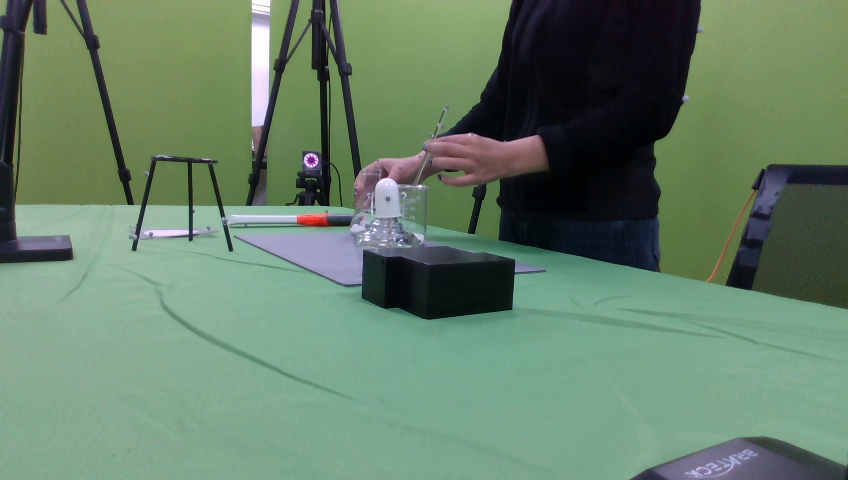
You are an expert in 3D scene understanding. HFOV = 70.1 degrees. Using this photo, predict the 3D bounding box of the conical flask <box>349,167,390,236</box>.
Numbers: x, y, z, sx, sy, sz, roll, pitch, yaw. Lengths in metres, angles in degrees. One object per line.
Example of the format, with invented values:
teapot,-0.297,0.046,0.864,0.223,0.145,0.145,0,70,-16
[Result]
conical flask,-0.097,-0.070,1.095,0.075,0.122,0.075,3,8,0

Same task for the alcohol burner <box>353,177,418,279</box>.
alcohol burner,-0.044,-0.014,0.710,0.078,0.119,0.078,4,9,0

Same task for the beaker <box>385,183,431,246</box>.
beaker,-0.031,-0.043,1.000,0.084,0.100,0.074,4,7,15

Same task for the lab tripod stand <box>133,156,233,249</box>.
lab tripod stand,-0.342,-0.054,0.878,0.148,0.131,0.148,4,6,0

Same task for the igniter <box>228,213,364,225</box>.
igniter,-0.252,-0.043,1.227,0.278,0.025,0.057,-2,-3,-32

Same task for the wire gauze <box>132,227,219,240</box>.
wire gauze,-0.421,-0.014,1.024,0.122,0.011,0.124,-2,7,-34

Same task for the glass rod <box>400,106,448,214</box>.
glass rod,-0.002,-0.126,0.980,0.008,0.199,0.008,19,27,-10

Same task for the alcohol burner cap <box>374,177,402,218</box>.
alcohol burner cap,-0.044,-0.049,0.704,0.034,0.048,0.034,-4,10,1
